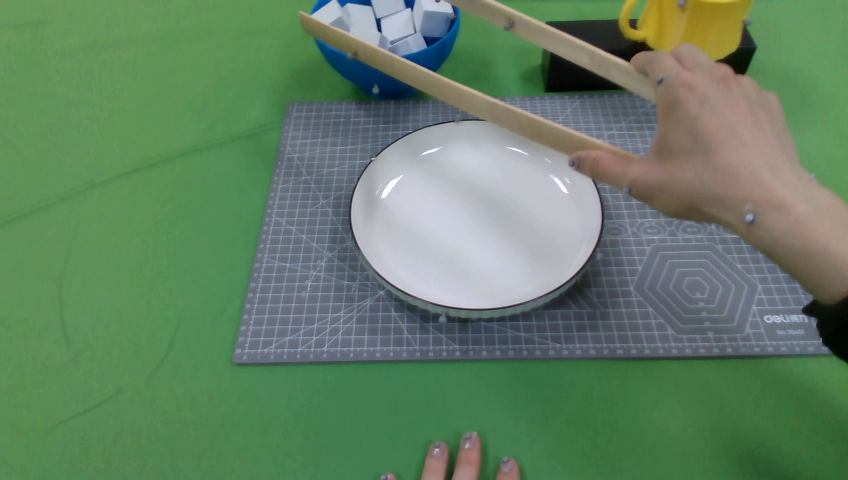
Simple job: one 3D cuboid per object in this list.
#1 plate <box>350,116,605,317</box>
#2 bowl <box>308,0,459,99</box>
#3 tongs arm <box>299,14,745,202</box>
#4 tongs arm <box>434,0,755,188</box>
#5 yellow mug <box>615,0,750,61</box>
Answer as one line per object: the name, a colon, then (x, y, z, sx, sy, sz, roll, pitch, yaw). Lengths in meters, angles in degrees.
plate: (0.044, -0.021, 0.510, 0.207, 0.039, 0.205, -1, 53, 2)
bowl: (-0.038, -0.201, 0.626, 0.151, 0.077, 0.150, -1, 53, 2)
tongs arm: (0.042, -0.112, 0.462, 0.384, 0.028, 0.028, 29, 66, 26)
tongs arm: (0.076, -0.150, 0.475, 0.381, 0.027, 0.050, 34, 72, 28)
yellow mug: (0.244, -0.225, 0.578, 0.131, 0.064, 0.099, -14, 53, -7)
